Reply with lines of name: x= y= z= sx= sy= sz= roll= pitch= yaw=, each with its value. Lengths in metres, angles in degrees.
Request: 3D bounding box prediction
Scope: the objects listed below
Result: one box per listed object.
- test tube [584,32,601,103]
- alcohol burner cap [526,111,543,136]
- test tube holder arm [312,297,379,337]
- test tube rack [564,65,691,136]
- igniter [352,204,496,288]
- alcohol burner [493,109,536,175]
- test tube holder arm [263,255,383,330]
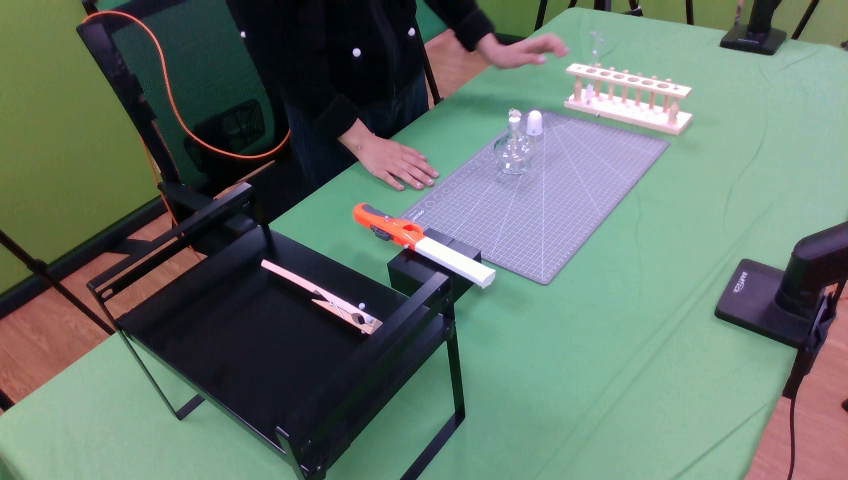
test tube: x=0.333 y=-0.339 z=1.198 sx=0.017 sy=0.151 sz=0.017 roll=-3 pitch=45 yaw=3
alcohol burner cap: x=0.219 y=-0.232 z=1.196 sx=0.034 sy=0.048 sz=0.033 roll=-4 pitch=41 yaw=4
test tube holder arm: x=-0.082 y=0.075 z=0.622 sx=0.087 sy=0.015 sz=0.010 roll=27 pitch=80 yaw=33
test tube rack: x=0.404 y=-0.288 z=1.204 sx=0.240 sy=0.085 sz=0.067 roll=24 pitch=49 yaw=32
igniter: x=-0.011 y=0.002 z=0.900 sx=0.274 sy=0.025 sz=0.057 roll=27 pitch=42 yaw=33
alcohol burner: x=0.163 y=-0.179 z=1.087 sx=0.078 sy=0.119 sz=0.077 roll=-5 pitch=38 yaw=4
test tube holder arm: x=-0.113 y=0.054 z=0.647 sx=0.177 sy=0.015 sz=0.013 roll=26 pitch=80 yaw=33
